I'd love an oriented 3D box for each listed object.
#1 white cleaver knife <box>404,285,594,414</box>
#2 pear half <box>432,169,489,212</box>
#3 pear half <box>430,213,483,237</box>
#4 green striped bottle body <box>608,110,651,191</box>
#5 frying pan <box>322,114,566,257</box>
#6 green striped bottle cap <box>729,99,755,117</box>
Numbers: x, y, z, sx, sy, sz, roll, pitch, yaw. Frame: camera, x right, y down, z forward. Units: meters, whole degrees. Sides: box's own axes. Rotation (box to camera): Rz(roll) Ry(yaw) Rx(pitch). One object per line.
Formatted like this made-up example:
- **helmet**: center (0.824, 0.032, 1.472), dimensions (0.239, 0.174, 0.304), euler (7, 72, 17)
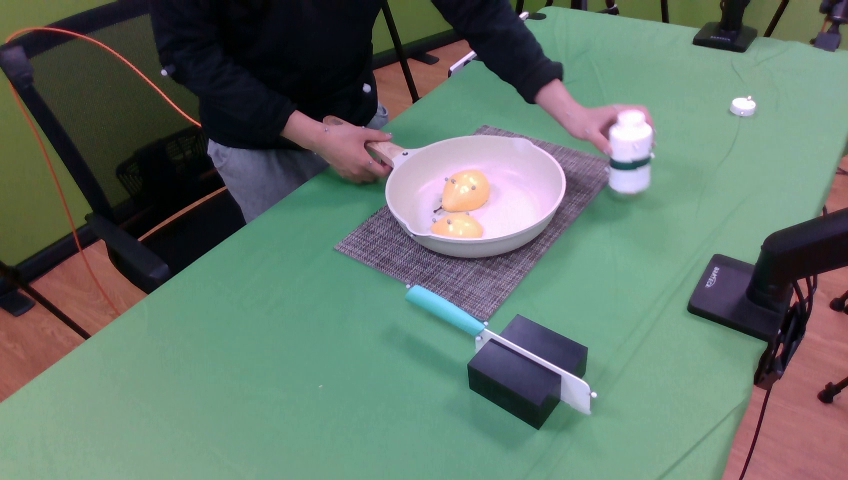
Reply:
- **white cleaver knife**: center (0.084, 0.135, 0.764), dimensions (0.284, 0.066, 0.021), euler (28, 47, 31)
- **pear half**: center (0.057, -0.083, 1.024), dimensions (0.110, 0.056, 0.075), euler (-33, 41, -24)
- **pear half**: center (0.051, -0.024, 0.973), dimensions (0.087, 0.031, 0.070), euler (14, 40, 18)
- **green striped bottle body**: center (0.323, -0.142, 0.953), dimensions (0.063, 0.120, 0.063), euler (-8, 33, 5)
- **frying pan**: center (0.004, -0.121, 1.039), dimensions (0.484, 0.103, 0.308), euler (31, 52, 25)
- **green striped bottle cap**: center (0.623, -0.259, 1.182), dimensions (0.044, 0.020, 0.044), euler (-3, 41, 3)
